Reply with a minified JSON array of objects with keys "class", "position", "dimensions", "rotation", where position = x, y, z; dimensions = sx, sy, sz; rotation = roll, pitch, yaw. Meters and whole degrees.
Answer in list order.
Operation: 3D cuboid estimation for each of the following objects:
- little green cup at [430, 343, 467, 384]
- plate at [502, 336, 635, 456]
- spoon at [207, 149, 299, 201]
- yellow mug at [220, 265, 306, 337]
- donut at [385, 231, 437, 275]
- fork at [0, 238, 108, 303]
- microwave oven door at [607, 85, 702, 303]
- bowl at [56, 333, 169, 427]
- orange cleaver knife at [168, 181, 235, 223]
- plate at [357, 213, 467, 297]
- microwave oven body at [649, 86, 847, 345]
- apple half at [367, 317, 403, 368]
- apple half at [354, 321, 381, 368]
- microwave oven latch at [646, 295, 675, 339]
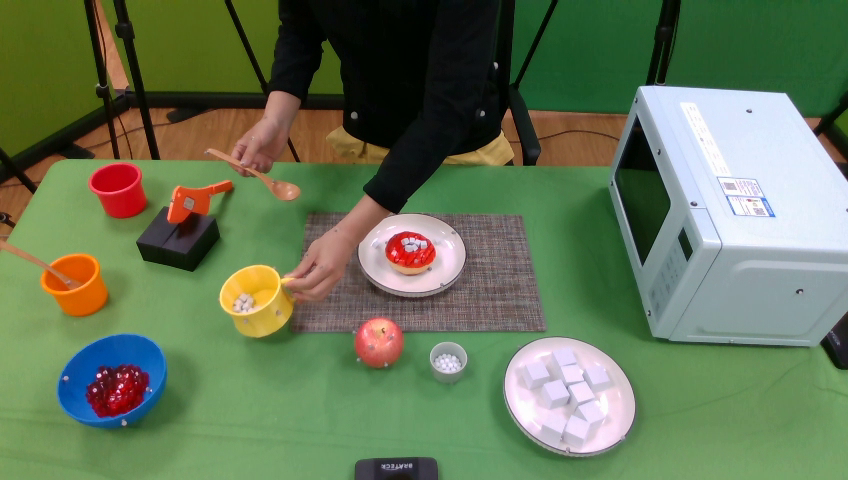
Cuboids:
[{"class":"little green cup","position":[0.039,0.203,0.993],"dimensions":[0.061,0.039,0.061],"rotation":[2,46,-2]},{"class":"plate","position":[0.225,0.248,0.963],"dimensions":[0.208,0.039,0.206],"rotation":[2,46,-2]},{"class":"spoon","position":[-0.321,-0.126,1.136],"dimensions":[0.194,0.022,0.041],"rotation":[30,61,1]},{"class":"yellow mug","position":[-0.259,0.094,0.996],"dimensions":[0.131,0.064,0.099],"rotation":[-19,48,-6]},{"class":"donut","position":[-0.025,0.024,1.142],"dimensions":[0.099,0.048,0.098],"rotation":[4,43,-3]},{"class":"fork","position":[-0.633,0.048,1.017],"dimensions":[0.208,0.018,0.028],"rotation":[40,41,-27]},{"class":"microwave oven door","position":[0.423,-0.094,1.140],"dimensions":[0.039,0.245,0.353],"rotation":[2,46,-1]},{"class":"bowl","position":[-0.456,0.223,0.911],"dimensions":[0.151,0.077,0.150],"rotation":[3,46,-2]},{"class":"orange cleaver knife","position":[-0.436,-0.077,1.196],"dimensions":[0.012,0.077,0.211],"rotation":[16,15,10]},{"class":"plate","position":[-0.023,0.032,1.150],"dimensions":[0.209,0.038,0.208],"rotation":[2,46,-2]},{"class":"microwave oven body","position":[0.568,-0.053,1.118],"dimensions":[0.326,0.261,0.439],"rotation":[2,45,-1]},{"class":"apple half","position":[-0.062,0.167,0.998],"dimensions":[0.053,0.075,0.080],"rotation":[-11,44,-20]},{"class":"apple half","position":[-0.097,0.176,0.985],"dimensions":[0.033,0.081,0.080],"rotation":[-12,48,-20]},{"class":"microwave oven latch","position":[0.412,0.134,1.061],"dimensions":[0.030,0.029,0.078],"rotation":[4,45,1]}]
